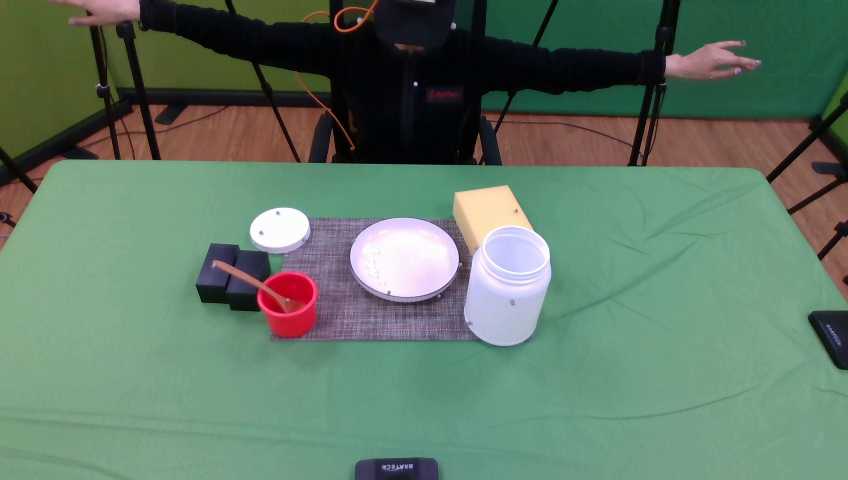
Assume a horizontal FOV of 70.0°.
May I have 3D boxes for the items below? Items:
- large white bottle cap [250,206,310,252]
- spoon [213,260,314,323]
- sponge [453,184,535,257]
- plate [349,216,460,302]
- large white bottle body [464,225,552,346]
[{"bbox_3d":[-0.284,-0.023,1.197,0.115,0.018,0.114,1,46,0],"label":"large white bottle cap"},{"bbox_3d":[-0.264,0.083,1.009,0.195,0.021,0.041,40,39,-28],"label":"spoon"},{"bbox_3d":[0.144,-0.016,1.192,0.118,0.061,0.205,-11,48,-13],"label":"sponge"},{"bbox_3d":[-0.038,0.038,1.142,0.209,0.038,0.208,2,46,-2],"label":"plate"},{"bbox_3d":[0.141,0.076,1.017,0.131,0.185,0.130,2,46,-2],"label":"large white bottle body"}]
